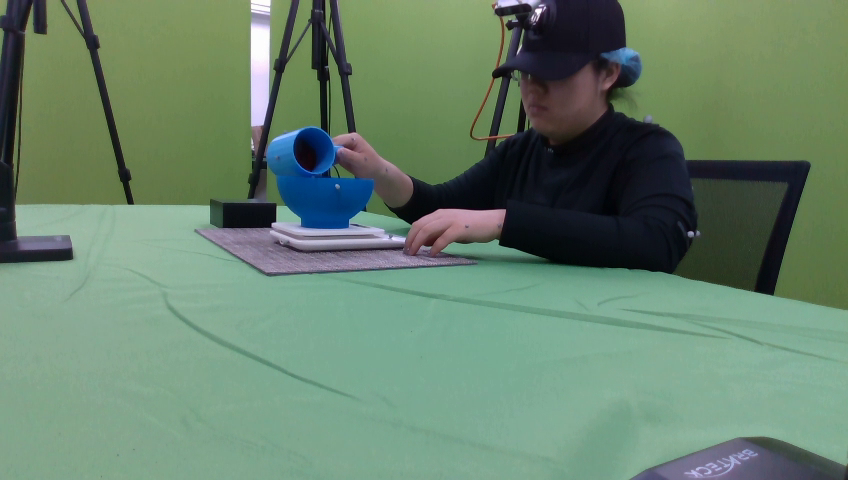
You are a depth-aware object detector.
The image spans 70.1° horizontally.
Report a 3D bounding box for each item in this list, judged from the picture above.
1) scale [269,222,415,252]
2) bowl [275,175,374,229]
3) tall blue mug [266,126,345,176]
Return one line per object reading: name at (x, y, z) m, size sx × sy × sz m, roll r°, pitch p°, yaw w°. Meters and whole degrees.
scale at (-0.130, -0.007, 0.958) m, size 0.202 × 0.031 × 0.148 m, roll -1°, pitch 9°, yaw -32°
bowl at (-0.152, -0.059, 0.932) m, size 0.151 × 0.077 × 0.151 m, roll 2°, pitch 6°, yaw 0°
tall blue mug at (-0.195, -0.152, 1.011) m, size 0.107 × 0.078 × 0.107 m, roll -41°, pitch 23°, yaw -29°
